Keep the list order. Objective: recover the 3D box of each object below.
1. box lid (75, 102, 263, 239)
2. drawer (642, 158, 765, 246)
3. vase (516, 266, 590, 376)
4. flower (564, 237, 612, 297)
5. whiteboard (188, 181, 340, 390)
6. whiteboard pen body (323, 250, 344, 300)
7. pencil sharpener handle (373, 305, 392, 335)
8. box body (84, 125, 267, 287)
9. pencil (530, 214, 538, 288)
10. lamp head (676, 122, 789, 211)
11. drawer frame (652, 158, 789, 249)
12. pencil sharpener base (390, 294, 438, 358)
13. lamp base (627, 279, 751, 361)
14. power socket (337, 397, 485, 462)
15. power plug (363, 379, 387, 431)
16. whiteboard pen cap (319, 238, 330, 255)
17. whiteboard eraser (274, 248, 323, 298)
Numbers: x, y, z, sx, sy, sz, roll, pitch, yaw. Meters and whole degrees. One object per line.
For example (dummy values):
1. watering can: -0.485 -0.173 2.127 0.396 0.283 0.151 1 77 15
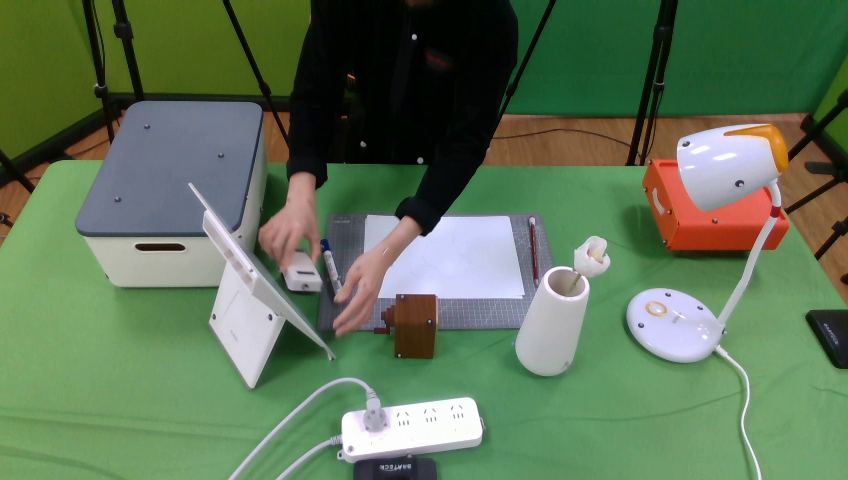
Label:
1. box lid: -0.443 -0.138 1.094 0.263 0.015 0.369 -1 47 -5
2. drawer: 0.566 -0.076 1.211 0.212 0.073 0.193 2 45 -2
3. vase: 0.208 0.132 0.964 0.098 0.201 0.097 3 46 -3
4. flower: 0.206 0.088 0.893 0.038 0.363 0.044 -16 67 -9
5. whiteboard: -0.292 0.096 0.929 0.144 0.307 0.216 -38 57 -10
6. whiteboard pen body: -0.171 0.058 1.129 0.017 0.017 0.140 -12 45 -15
7. pencil sharpener handle: -0.068 0.133 0.989 0.030 0.068 0.036 1 46 -2
8. box body: -0.446 -0.088 1.150 0.254 0.161 0.361 -1 46 -5
9. pencil: 0.218 0.019 1.201 0.012 0.012 0.193 5 48 1
10. lamp head: 0.423 -0.104 0.819 0.122 0.113 0.112 -13 33 40
11. drawer frame: 0.572 -0.075 1.214 0.214 0.083 0.200 0 45 -1
12. pencil sharpener base: -0.018 0.143 1.000 0.077 0.107 0.061 1 46 -2
13. lamp base: 0.459 0.100 1.027 0.178 0.181 0.160 27 51 17
14. power socket: -0.018 0.285 0.915 0.227 0.033 0.071 -5 46 -8
15. power plug: -0.072 0.252 0.910 0.035 0.053 0.072 3 45 -1
16. whiteboard pen cap: -0.191 0.013 1.163 0.018 0.018 0.033 -12 49 -16
17. whiteboard eraser: -0.217 0.057 1.043 0.056 0.042 0.112 3 30 -32
